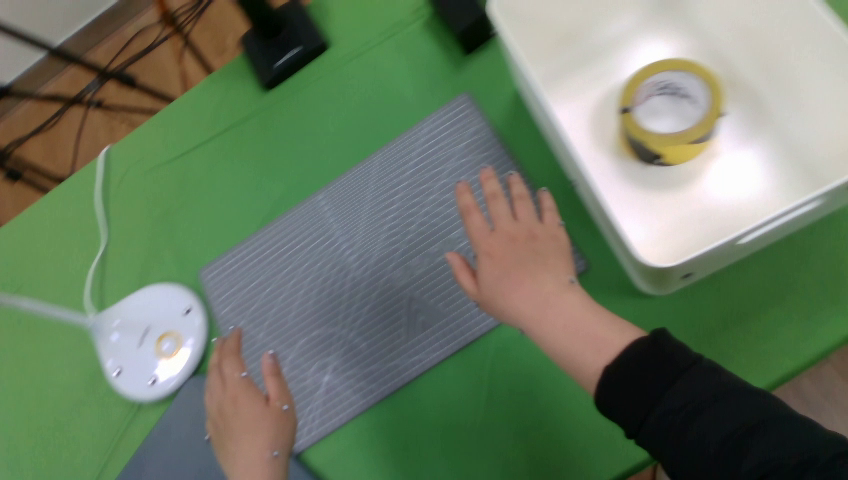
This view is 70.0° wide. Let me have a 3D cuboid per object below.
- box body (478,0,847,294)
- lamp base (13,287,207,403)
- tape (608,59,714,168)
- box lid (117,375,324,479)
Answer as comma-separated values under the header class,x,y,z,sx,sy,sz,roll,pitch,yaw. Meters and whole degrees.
class,x,y,z,sx,sy,sz,roll,pitch,yaw
box body,0.254,-0.151,0.649,0.254,0.162,0.360,-29,66,7
lamp base,-0.404,0.118,0.768,0.178,0.182,0.160,4,73,22
tape,0.269,-0.146,0.697,0.116,0.053,0.116,-5,71,16
box lid,-0.233,0.362,0.724,0.368,0.015,0.263,33,85,24
